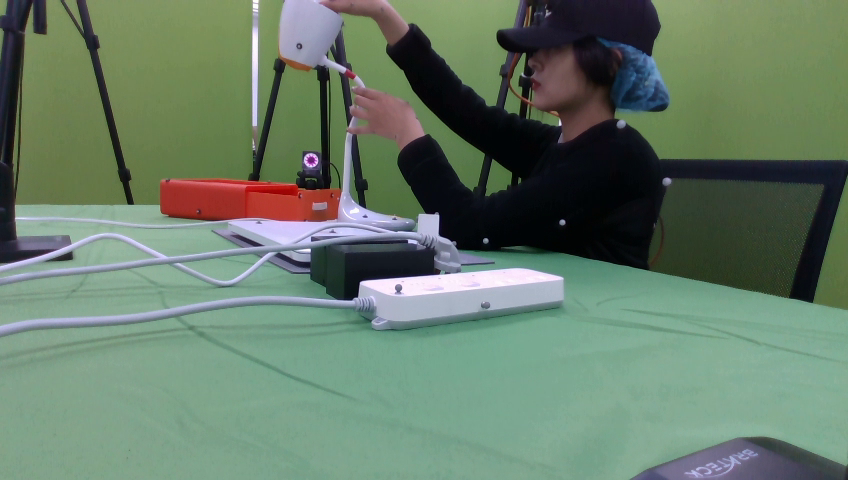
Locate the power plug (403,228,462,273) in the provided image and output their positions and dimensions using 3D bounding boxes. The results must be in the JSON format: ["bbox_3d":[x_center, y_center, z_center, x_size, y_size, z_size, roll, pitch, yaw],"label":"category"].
[{"bbox_3d":[0.006,0.016,0.647,0.073,0.052,0.035,17,12,-6],"label":"power plug"}]

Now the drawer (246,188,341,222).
[{"bbox_3d":[-0.312,-0.078,1.296,0.211,0.073,0.195,4,9,17],"label":"drawer"}]

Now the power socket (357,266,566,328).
[{"bbox_3d":[0.042,0.049,0.573,0.228,0.032,0.072,-3,8,-34],"label":"power socket"}]

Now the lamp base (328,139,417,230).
[{"bbox_3d":[-0.104,-0.112,1.212,0.180,0.180,0.160,-2,7,-15],"label":"lamp base"}]

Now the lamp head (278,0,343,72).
[{"bbox_3d":[-0.219,-0.375,1.124,0.112,0.123,0.112,17,10,-3],"label":"lamp head"}]

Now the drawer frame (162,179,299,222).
[{"bbox_3d":[-0.418,-0.089,1.328,0.213,0.082,0.202,4,8,18],"label":"drawer frame"}]

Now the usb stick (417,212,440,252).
[{"bbox_3d":[0.005,-0.003,0.721,0.027,0.059,0.021,0,-3,-3],"label":"usb stick"}]

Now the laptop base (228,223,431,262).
[{"bbox_3d":[-0.145,0.003,0.942,0.237,0.023,0.352,2,6,-32],"label":"laptop base"}]

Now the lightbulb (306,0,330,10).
[{"bbox_3d":[-0.213,-0.399,1.114,0.059,0.107,0.059,25,4,-1],"label":"lightbulb"}]

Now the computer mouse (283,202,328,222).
[{"bbox_3d":[-0.251,-0.060,1.286,0.063,0.041,0.117,2,4,11],"label":"computer mouse"}]

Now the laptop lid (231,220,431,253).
[{"bbox_3d":[-0.142,-0.009,0.942,0.243,0.013,0.355,1,7,-31],"label":"laptop lid"}]
